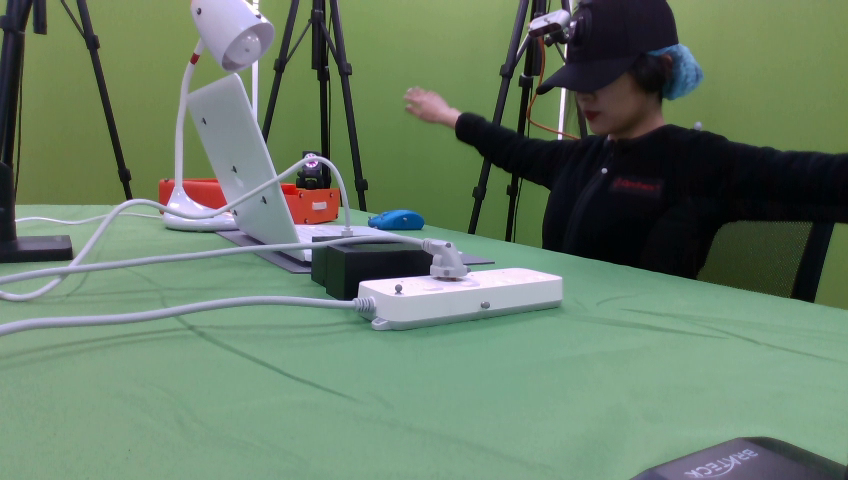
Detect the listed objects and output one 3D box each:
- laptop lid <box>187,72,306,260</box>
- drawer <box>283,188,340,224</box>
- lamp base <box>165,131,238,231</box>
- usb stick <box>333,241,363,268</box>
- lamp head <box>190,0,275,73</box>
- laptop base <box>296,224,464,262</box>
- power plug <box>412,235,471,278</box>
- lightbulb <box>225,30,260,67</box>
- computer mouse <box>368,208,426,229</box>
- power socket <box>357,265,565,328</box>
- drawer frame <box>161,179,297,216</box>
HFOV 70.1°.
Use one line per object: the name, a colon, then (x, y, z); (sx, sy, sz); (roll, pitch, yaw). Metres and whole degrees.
laptop lid: (-0.263, -0.102, 0.852); (0.013, 0.242, 0.355); (-25, 20, -25)
drawer: (-0.314, -0.078, 1.301); (0.211, 0.073, 0.195); (4, 8, 15)
lamp base: (-0.407, -0.112, 1.119); (0.179, 0.180, 0.161); (-1, 7, 7)
usb stick: (-0.097, 0.017, 0.743); (0.021, 0.027, 0.059); (0, 7, -31)
lamp head: (-0.330, -0.355, 1.008); (0.123, 0.112, 0.112); (43, 15, 6)
laptop base: (-0.127, 0.002, 0.947); (0.237, 0.023, 0.352); (2, 6, -30)
power plug: (0.017, 0.023, 0.588); (0.035, 0.052, 0.072); (-1, 8, -24)
lightbulb: (-0.319, -0.334, 1.000); (0.107, 0.059, 0.059); (44, 14, 4)
computer mouse: (-0.057, -0.044, 1.267); (0.118, 0.041, 0.062); (-6, 12, -28)
power socket: (0.041, 0.049, 0.572); (0.228, 0.032, 0.072); (-4, 8, -35)
drawer frame: (-0.421, -0.089, 1.329); (0.213, 0.082, 0.202); (4, 8, 16)
